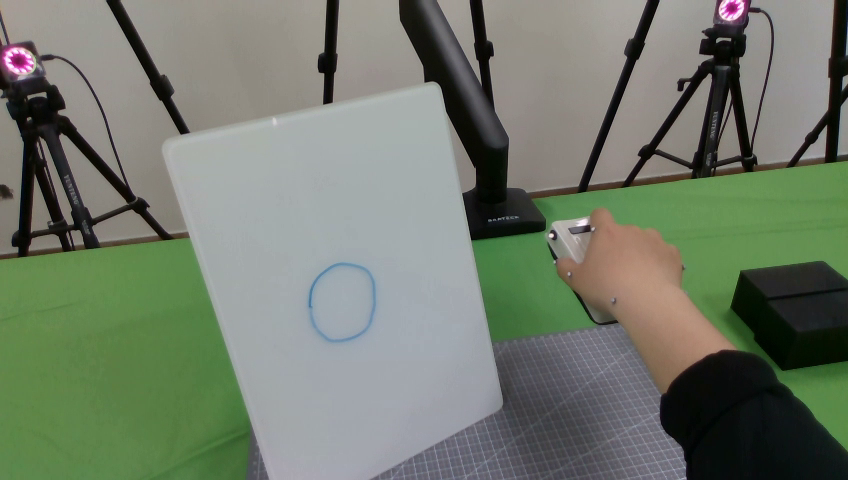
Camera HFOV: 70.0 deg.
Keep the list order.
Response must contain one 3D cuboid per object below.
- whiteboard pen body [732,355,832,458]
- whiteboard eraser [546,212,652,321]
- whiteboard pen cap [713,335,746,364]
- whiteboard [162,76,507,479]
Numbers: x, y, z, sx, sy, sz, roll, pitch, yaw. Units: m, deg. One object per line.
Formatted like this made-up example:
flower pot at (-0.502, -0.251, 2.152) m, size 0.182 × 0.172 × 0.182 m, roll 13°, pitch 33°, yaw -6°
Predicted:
whiteboard pen body at (0.320, 0.142, 0.560) m, size 0.017 × 0.017 × 0.139 m, roll -8°, pitch 32°, yaw -9°
whiteboard eraser at (0.164, 0.025, 0.581) m, size 0.056 × 0.042 × 0.111 m, roll -11°, pitch 52°, yaw -16°
whiteboard pen cap at (0.308, 0.111, 0.608) m, size 0.018 × 0.018 × 0.033 m, roll -8°, pitch 32°, yaw -10°
whiteboard at (-0.078, 0.035, 0.535) m, size 0.218 × 0.307 × 0.143 m, roll -20°, pitch 17°, yaw -25°
